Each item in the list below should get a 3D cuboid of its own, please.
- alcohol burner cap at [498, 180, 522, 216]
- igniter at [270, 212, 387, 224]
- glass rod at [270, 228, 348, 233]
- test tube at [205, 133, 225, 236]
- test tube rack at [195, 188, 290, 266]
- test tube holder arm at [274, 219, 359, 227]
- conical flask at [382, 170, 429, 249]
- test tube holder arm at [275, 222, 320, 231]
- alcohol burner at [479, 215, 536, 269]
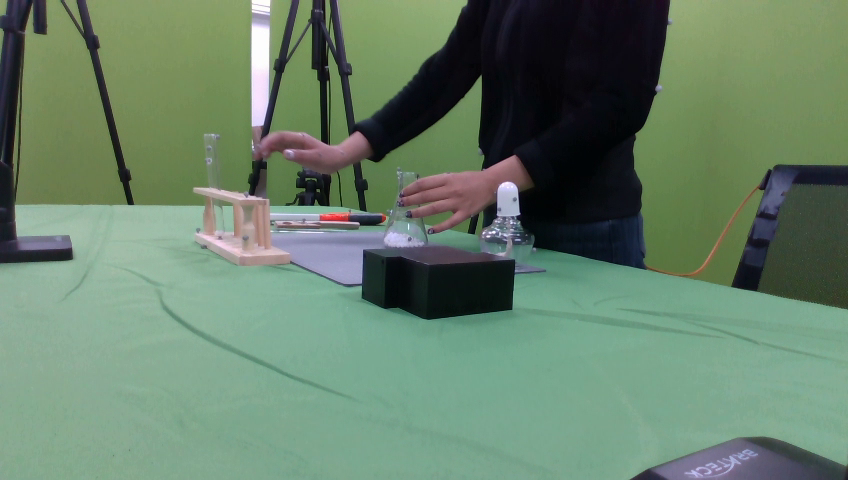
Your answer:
[{"bbox_3d":[0.114,-0.056,0.809,0.034,0.048,0.034,-5,12,1],"label":"alcohol burner cap"},{"bbox_3d":[-0.213,-0.048,1.278,0.278,0.025,0.057,-1,-2,-25],"label":"igniter"},{"bbox_3d":[-0.234,-0.017,1.104,0.201,0.008,0.008,1,7,-26],"label":"glass rod"},{"bbox_3d":[-0.305,-0.079,0.883,0.017,0.150,0.017,-2,11,1],"label":"test tube"},{"bbox_3d":[-0.266,-0.025,0.864,0.067,0.085,0.241,-2,9,-33],"label":"test tube rack"},{"bbox_3d":[-0.206,-0.031,1.176,0.179,0.015,0.013,-4,45,-39],"label":"test tube holder arm"},{"bbox_3d":[-0.027,-0.049,0.959,0.075,0.122,0.075,2,7,0],"label":"conical flask"},{"bbox_3d":[-0.238,-0.026,1.144,0.088,0.015,0.010,-3,45,-38],"label":"test tube holder arm"},{"bbox_3d":[0.114,-0.021,0.815,0.078,0.119,0.078,2,9,0],"label":"alcohol burner"}]
